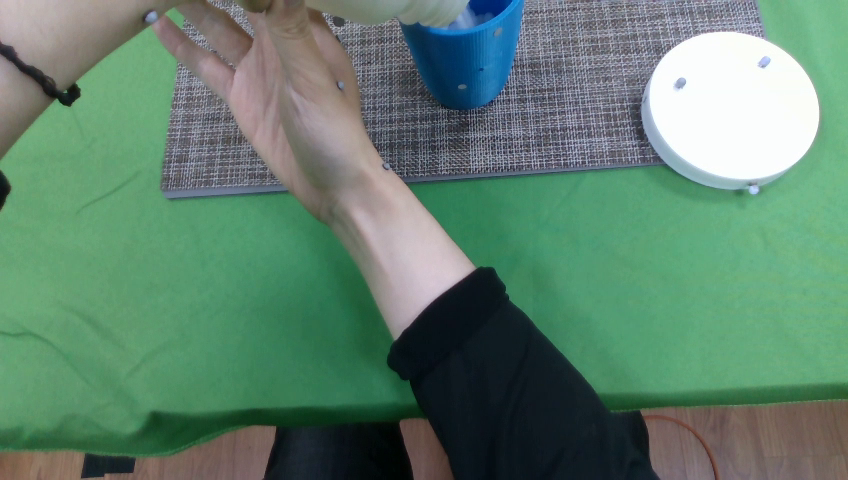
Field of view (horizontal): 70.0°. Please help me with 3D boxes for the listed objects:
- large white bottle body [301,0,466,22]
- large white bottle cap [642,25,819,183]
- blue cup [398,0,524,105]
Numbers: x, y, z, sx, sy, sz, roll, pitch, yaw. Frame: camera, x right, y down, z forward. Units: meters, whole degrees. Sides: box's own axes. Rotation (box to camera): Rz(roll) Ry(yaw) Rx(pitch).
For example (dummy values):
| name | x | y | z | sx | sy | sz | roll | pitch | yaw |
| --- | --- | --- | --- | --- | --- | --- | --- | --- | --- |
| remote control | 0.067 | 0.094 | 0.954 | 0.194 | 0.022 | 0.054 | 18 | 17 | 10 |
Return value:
| name | x | y | z | sx | sy | sz | roll | pitch | yaw |
| --- | --- | --- | --- | --- | --- | --- | --- | --- | --- |
| large white bottle body | -0.060 | -0.185 | 0.288 | 0.186 | 0.130 | 0.130 | 10 | 70 | -21 |
| large white bottle cap | 0.211 | -0.095 | 0.418 | 0.115 | 0.018 | 0.114 | -1 | 74 | 2 |
| blue cup | 0.026 | -0.144 | 0.408 | 0.092 | 0.101 | 0.092 | -2 | 69 | 6 |
